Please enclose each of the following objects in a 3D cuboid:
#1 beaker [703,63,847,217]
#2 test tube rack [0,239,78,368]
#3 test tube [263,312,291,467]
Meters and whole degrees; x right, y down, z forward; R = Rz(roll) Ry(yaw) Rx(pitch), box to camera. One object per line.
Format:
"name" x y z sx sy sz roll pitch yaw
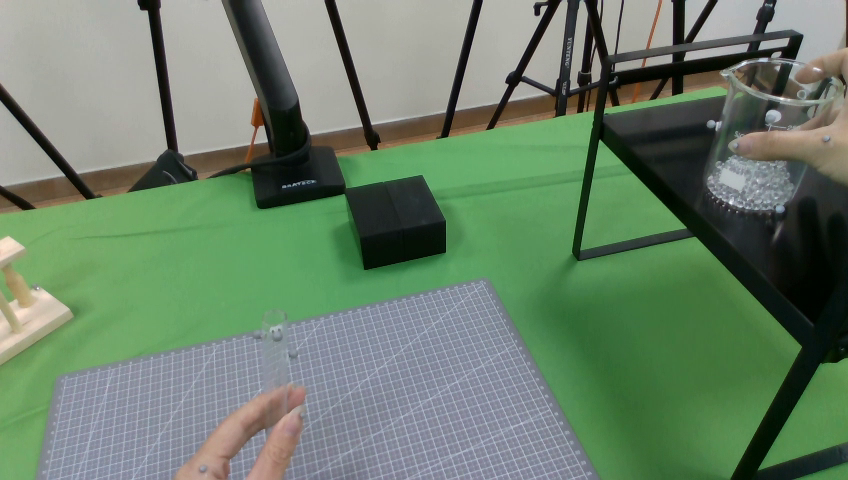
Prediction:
"beaker" 0.261 -0.075 0.467 0.083 0.101 0.074 25 46 30
"test tube rack" -0.475 0.105 0.573 0.066 0.086 0.242 24 46 28
"test tube" -0.100 0.108 0.415 0.017 0.151 0.017 6 36 -4
